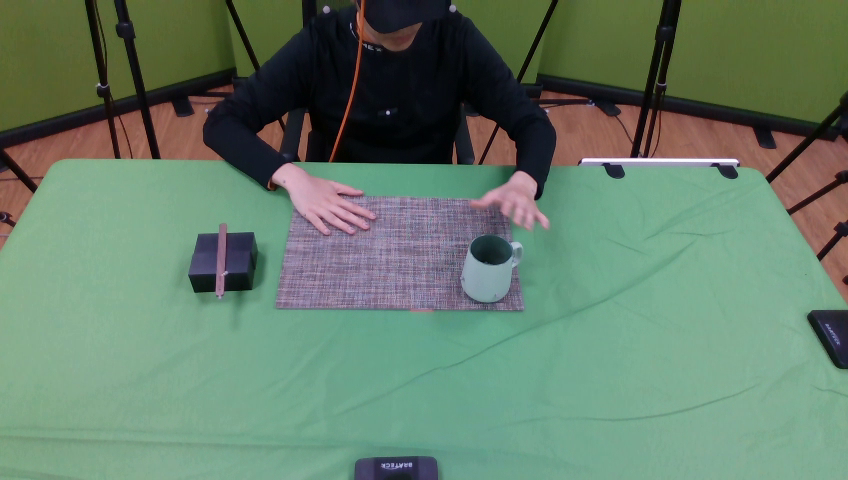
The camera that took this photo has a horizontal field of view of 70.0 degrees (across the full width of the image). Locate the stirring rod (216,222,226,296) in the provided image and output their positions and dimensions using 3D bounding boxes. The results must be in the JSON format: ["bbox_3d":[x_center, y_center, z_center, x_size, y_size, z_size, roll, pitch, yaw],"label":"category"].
[{"bbox_3d":[-0.362,0.031,1.082,0.014,0.006,0.175,-6,48,-10],"label":"stirring rod"}]

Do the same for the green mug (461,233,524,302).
[{"bbox_3d":[0.130,0.044,1.102,0.125,0.105,0.092,-25,53,-25],"label":"green mug"}]
